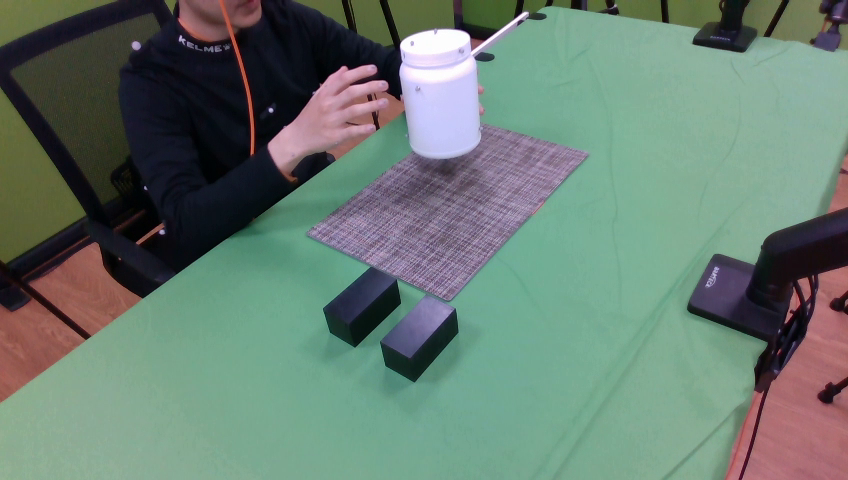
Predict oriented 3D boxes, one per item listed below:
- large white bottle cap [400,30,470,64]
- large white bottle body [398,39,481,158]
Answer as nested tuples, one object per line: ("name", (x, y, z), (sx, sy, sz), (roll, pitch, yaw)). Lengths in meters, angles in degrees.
("large white bottle cap", (0.018, -0.316, 0.985), (0.115, 0.018, 0.114), (-5, 36, 4))
("large white bottle body", (0.027, -0.248, 1.034), (0.130, 0.185, 0.130), (-5, 36, 4))
